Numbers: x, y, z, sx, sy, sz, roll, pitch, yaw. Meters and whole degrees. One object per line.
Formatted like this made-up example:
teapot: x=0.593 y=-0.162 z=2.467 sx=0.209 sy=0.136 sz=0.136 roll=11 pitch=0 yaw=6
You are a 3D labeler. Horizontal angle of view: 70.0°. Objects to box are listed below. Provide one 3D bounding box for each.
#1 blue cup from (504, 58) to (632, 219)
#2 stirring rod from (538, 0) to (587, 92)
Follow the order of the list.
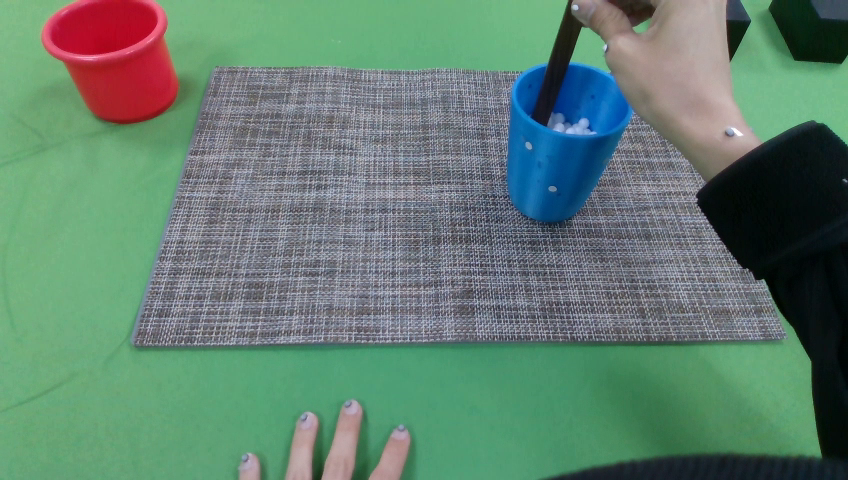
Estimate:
blue cup: x=0.099 y=-0.070 z=0.459 sx=0.093 sy=0.101 sz=0.091 roll=2 pitch=51 yaw=-2
stirring rod: x=0.091 y=-0.132 z=0.396 sx=0.014 sy=0.177 sz=0.005 roll=8 pitch=53 yaw=-2
